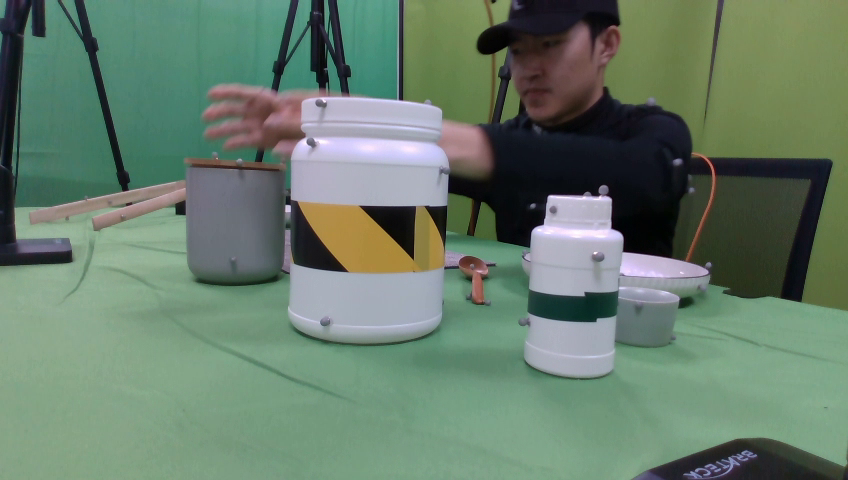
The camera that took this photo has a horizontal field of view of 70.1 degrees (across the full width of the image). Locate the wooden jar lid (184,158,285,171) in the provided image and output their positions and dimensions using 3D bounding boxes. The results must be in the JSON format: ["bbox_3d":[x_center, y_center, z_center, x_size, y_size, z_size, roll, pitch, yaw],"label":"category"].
[{"bbox_3d":[-0.210,-0.078,0.674,0.108,0.020,0.108,4,6,0],"label":"wooden jar lid"}]

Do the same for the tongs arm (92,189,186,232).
[{"bbox_3d":[-0.534,-0.076,1.221,0.028,0.028,0.388,-2,15,12],"label":"tongs arm"}]

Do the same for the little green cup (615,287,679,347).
[{"bbox_3d":[0.180,0.064,0.506,0.061,0.038,0.061,2,8,0],"label":"little green cup"}]

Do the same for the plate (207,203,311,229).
[{"bbox_3d":[-0.342,-0.050,1.260,0.208,0.039,0.207,3,8,0],"label":"plate"}]

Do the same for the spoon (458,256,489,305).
[{"bbox_3d":[0.059,0.044,0.696,0.041,0.021,0.194,22,7,0],"label":"spoon"}]

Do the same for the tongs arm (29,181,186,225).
[{"bbox_3d":[-0.609,-0.083,1.245,0.050,0.026,0.386,5,16,23],"label":"tongs arm"}]

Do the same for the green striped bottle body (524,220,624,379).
[{"bbox_3d":[0.104,0.031,0.422,0.063,0.119,0.063,2,7,0],"label":"green striped bottle body"}]

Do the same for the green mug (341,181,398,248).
[{"bbox_3d":[-0.090,-0.044,0.997,0.093,0.105,0.125,1,7,-8],"label":"green mug"}]

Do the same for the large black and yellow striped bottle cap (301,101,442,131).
[{"bbox_3d":[-0.042,-0.100,0.491,0.115,0.019,0.115,1,8,0],"label":"large black and yellow striped bottle cap"}]

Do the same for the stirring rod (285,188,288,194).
[{"bbox_3d":[-0.354,-0.122,1.519,0.006,0.014,0.176,2,6,1],"label":"stirring rod"}]

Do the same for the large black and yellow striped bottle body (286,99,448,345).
[{"bbox_3d":[-0.047,-0.018,0.501,0.131,0.184,0.130,2,7,0],"label":"large black and yellow striped bottle body"}]

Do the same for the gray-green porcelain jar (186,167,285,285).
[{"bbox_3d":[-0.212,-0.017,0.682,0.106,0.126,0.106,2,7,0],"label":"gray-green porcelain jar"}]

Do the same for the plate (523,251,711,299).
[{"bbox_3d":[0.219,0.041,0.706,0.209,0.038,0.209,2,7,0],"label":"plate"}]

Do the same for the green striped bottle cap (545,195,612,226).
[{"bbox_3d":[0.106,-0.020,0.414,0.044,0.020,0.044,2,4,0],"label":"green striped bottle cap"}]
